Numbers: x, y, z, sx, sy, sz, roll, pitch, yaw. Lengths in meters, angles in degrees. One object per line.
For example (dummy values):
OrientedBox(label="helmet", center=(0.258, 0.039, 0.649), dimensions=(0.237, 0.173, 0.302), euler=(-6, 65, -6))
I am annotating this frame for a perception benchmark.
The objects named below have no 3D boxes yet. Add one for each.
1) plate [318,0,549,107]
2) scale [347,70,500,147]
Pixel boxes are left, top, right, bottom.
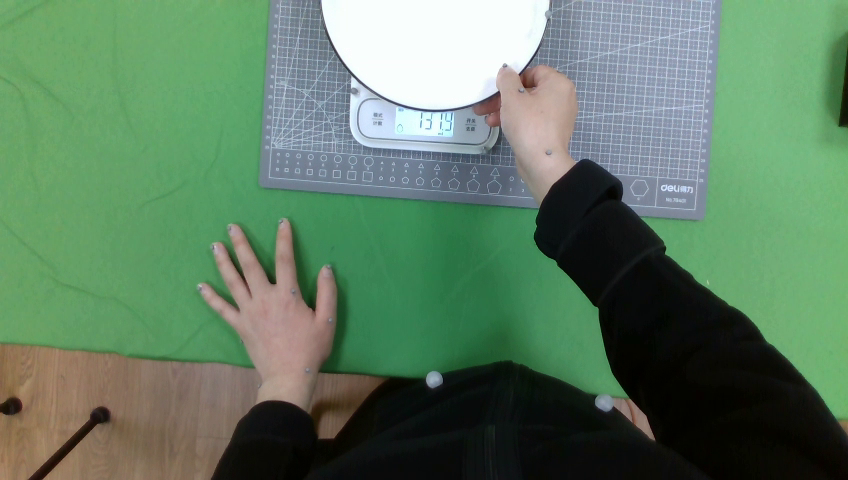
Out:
OrientedBox(label="plate", center=(0.009, -0.223, 0.556), dimensions=(0.209, 0.038, 0.209), euler=(0, 90, -1))
OrientedBox(label="scale", center=(0.004, -0.196, 0.591), dimensions=(0.149, 0.031, 0.201), euler=(4, 92, -1))
